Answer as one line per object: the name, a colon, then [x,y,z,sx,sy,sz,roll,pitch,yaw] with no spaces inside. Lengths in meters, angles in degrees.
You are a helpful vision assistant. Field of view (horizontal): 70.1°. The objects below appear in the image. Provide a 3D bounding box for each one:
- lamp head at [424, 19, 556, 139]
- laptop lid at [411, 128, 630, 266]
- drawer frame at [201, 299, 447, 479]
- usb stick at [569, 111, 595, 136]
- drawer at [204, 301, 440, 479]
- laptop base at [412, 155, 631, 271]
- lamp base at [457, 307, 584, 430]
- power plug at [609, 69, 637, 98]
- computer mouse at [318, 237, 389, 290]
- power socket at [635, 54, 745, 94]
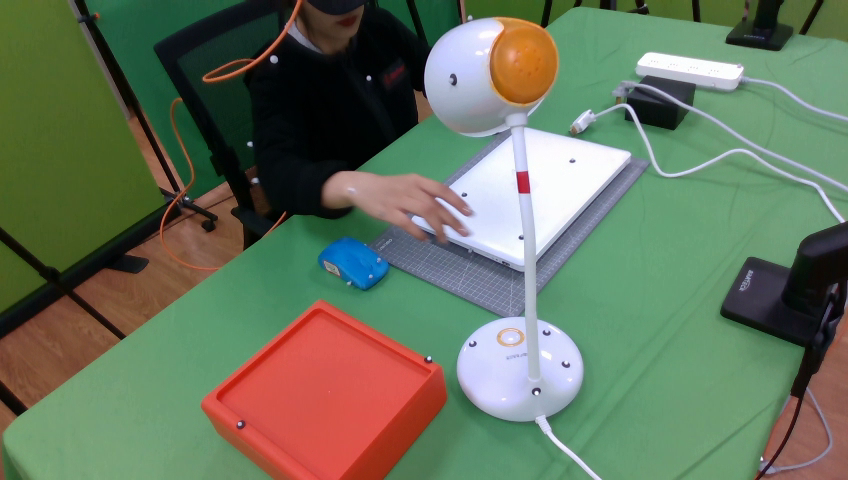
lamp head: [0.069,-0.151,0.563,0.113,0.113,0.122,-21,18,-13]
laptop lid: [0.172,-0.093,1.049,0.239,0.013,0.358,23,49,36]
drawer frame: [-0.117,0.193,0.733,0.212,0.083,0.202,23,48,32]
usb stick: [0.309,-0.227,1.189,0.059,0.021,0.027,-44,13,-20]
drawer: [-0.120,0.193,0.734,0.210,0.073,0.195,23,48,32]
laptop base: [0.176,-0.084,1.055,0.233,0.023,0.355,21,48,36]
lamp base: [0.115,0.108,0.713,0.161,0.181,0.178,-17,43,-8]
power plug: [0.408,-0.324,1.232,0.035,0.072,0.052,5,40,-35]
computer mouse: [-0.113,0.034,0.959,0.116,0.041,0.063,27,50,31]
power socket: [0.563,-0.358,1.295,0.225,0.033,0.072,21,49,31]
